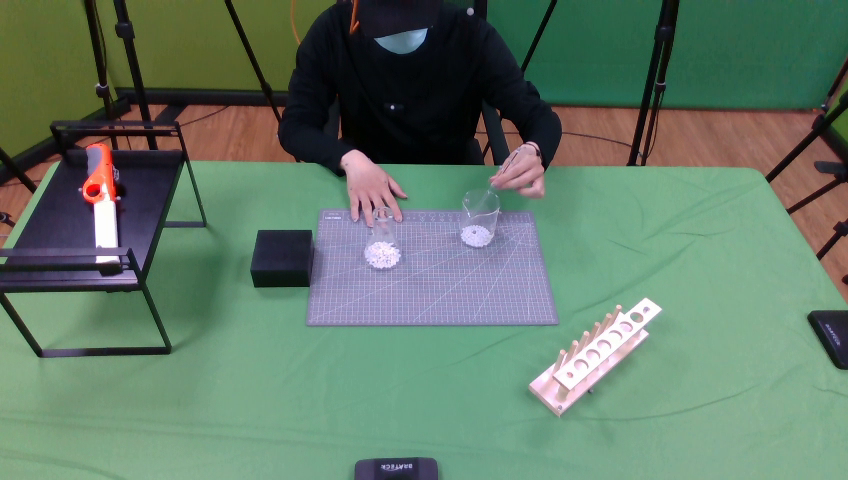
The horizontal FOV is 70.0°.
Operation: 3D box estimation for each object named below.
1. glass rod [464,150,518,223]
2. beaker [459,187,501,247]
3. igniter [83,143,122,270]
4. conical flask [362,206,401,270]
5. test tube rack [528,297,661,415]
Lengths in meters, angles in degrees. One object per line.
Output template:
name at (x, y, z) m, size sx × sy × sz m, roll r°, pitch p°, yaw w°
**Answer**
glass rod at (0.125, -0.099, 1.151) m, size 0.008 × 0.200 × 0.008 m, roll 18°, pitch 43°, yaw -18°
beaker at (0.106, -0.039, 1.186) m, size 0.074 × 0.101 × 0.084 m, roll 22°, pitch 50°, yaw 17°
igniter at (-0.508, -0.063, 0.962) m, size 0.057 × 0.025 × 0.274 m, roll -14°, pitch 53°, yaw -18°
conical flask at (-0.078, -0.008, 1.126) m, size 0.075 × 0.122 × 0.075 m, roll 2°, pitch 46°, yaw -2°
test tube rack at (0.285, 0.178, 1.005) m, size 0.242 × 0.085 × 0.066 m, roll -31°, pitch 55°, yaw -29°
